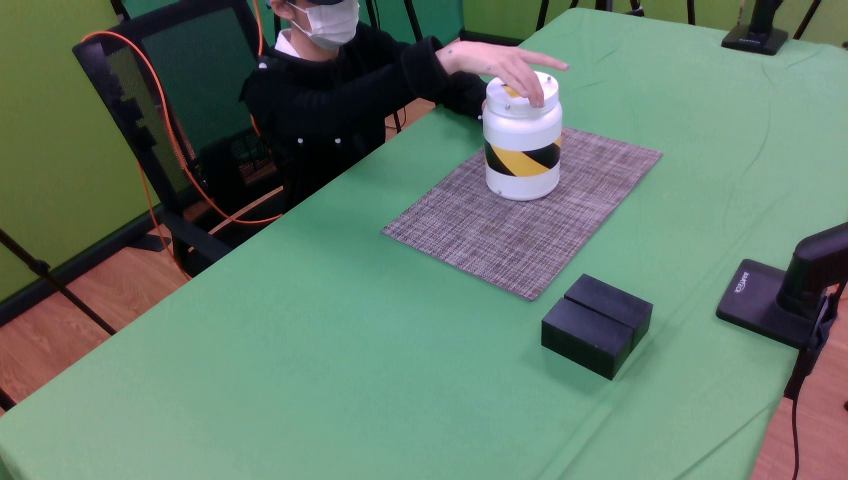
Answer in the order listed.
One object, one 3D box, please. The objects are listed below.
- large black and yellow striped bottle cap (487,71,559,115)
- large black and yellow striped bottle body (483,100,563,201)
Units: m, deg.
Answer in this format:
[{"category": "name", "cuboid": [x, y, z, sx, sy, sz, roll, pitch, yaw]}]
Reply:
[{"category": "large black and yellow striped bottle cap", "cuboid": [0.158, -0.237, 0.968, 0.115, 0.019, 0.114, -5, 41, 5]}, {"category": "large black and yellow striped bottle body", "cuboid": [0.167, -0.173, 1.022, 0.131, 0.185, 0.130, -5, 40, 4]}]
